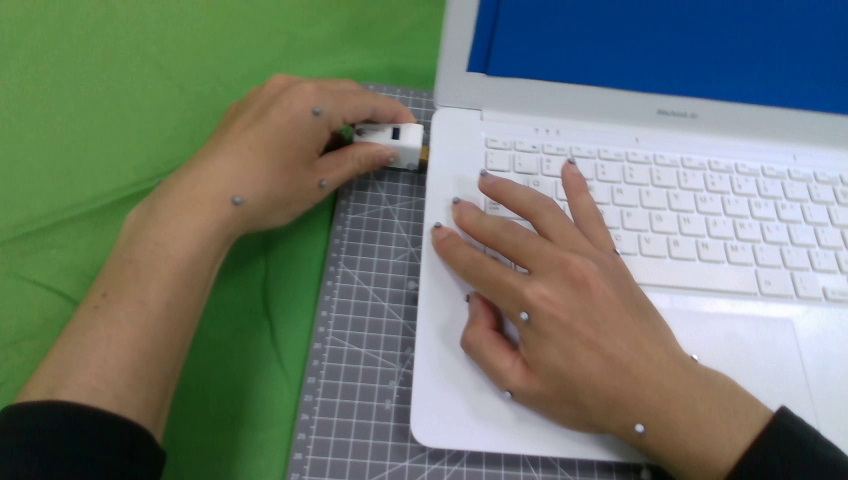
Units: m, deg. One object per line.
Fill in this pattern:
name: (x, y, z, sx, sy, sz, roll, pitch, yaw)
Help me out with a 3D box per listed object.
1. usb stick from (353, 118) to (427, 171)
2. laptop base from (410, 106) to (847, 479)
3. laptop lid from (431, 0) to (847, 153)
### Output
usb stick: (-0.017, -0.062, 0.399, 0.059, 0.027, 0.021, 7, 55, -9)
laptop base: (0.172, 0.026, 0.386, 0.355, 0.023, 0.233, 5, 62, -4)
laptop lid: (0.191, -0.166, 0.375, 0.357, 0.243, 0.013, 4, 37, -3)
